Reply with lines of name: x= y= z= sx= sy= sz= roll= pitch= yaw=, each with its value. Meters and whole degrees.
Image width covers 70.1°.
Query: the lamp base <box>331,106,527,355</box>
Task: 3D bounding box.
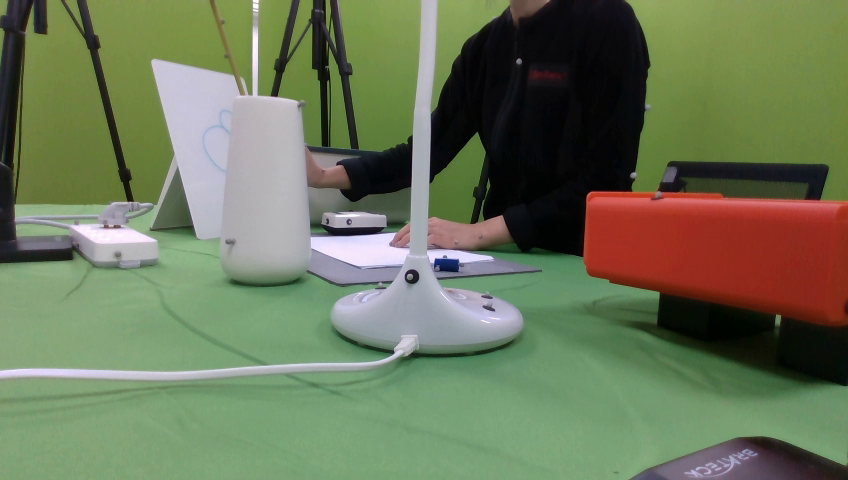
lamp base: x=0.006 y=-0.012 z=0.478 sx=0.161 sy=0.180 sz=0.179 roll=2 pitch=10 yaw=2

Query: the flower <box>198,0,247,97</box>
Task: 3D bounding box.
flower: x=-0.187 y=-0.133 z=0.648 sx=0.038 sy=0.362 sz=0.044 roll=0 pitch=22 yaw=43

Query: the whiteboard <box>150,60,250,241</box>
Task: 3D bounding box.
whiteboard: x=-0.408 y=-0.139 z=1.093 sx=0.143 sy=0.305 sz=0.218 roll=-15 pitch=-1 yaw=26

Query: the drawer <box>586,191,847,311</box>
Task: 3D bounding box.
drawer: x=0.281 y=0.000 z=0.513 sx=0.195 sy=0.073 sz=0.210 roll=-1 pitch=7 yaw=-29

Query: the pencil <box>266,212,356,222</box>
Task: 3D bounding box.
pencil: x=-0.244 y=-0.049 z=1.318 sx=0.195 sy=0.012 sz=0.012 roll=4 pitch=7 yaw=-12

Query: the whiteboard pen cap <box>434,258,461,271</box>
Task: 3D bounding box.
whiteboard pen cap: x=0.029 y=0.031 z=0.770 sx=0.033 sy=0.018 sz=0.018 roll=4 pitch=8 yaw=8

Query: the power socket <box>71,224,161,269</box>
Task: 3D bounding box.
power socket: x=-0.408 y=0.004 z=0.793 sx=0.072 sy=0.032 sz=0.225 roll=-2 pitch=8 yaw=-38

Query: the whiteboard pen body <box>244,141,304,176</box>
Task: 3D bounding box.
whiteboard pen body: x=-0.268 y=-0.140 z=1.064 sx=0.140 sy=0.017 sz=0.017 roll=-21 pitch=-4 yaw=26

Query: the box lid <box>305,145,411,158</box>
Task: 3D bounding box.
box lid: x=-0.228 y=-0.200 z=1.361 sx=0.373 sy=0.015 sz=0.262 roll=-1 pitch=8 yaw=-33

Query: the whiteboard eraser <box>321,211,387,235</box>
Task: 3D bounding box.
whiteboard eraser: x=-0.128 y=-0.031 z=1.108 sx=0.113 sy=0.042 sz=0.055 roll=-4 pitch=8 yaw=-38

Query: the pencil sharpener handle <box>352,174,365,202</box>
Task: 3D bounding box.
pencil sharpener handle: x=-0.156 y=-0.125 z=1.450 sx=0.031 sy=0.068 sz=0.036 roll=1 pitch=20 yaw=-11

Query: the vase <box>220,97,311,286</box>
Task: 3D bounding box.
vase: x=-0.172 y=-0.052 z=0.662 sx=0.098 sy=0.200 sz=0.098 roll=3 pitch=8 yaw=0

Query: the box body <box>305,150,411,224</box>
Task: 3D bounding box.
box body: x=-0.230 y=-0.126 z=1.372 sx=0.366 sy=0.160 sz=0.253 roll=-2 pitch=9 yaw=-33

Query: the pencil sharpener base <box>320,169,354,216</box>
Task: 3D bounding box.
pencil sharpener base: x=-0.207 y=-0.113 z=1.439 sx=0.077 sy=0.107 sz=0.061 roll=2 pitch=6 yaw=-11

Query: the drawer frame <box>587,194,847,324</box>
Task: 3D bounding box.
drawer frame: x=0.285 y=0.004 z=0.508 sx=0.203 sy=0.082 sz=0.212 roll=-1 pitch=6 yaw=-29

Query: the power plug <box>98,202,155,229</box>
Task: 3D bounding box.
power plug: x=-0.416 y=-0.027 z=0.848 sx=0.073 sy=0.052 sz=0.035 roll=0 pitch=8 yaw=-28
